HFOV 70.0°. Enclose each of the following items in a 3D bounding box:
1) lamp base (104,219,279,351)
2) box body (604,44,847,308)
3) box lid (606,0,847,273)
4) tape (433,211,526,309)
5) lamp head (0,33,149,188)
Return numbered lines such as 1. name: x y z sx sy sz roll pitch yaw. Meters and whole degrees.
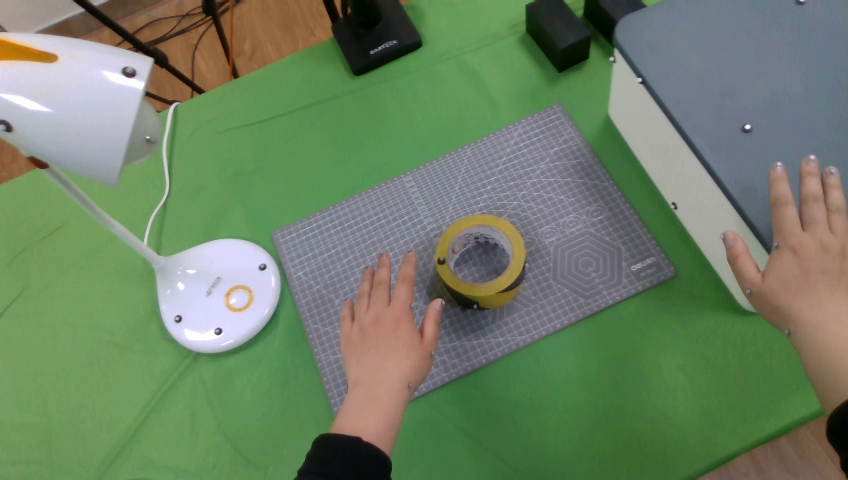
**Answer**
1. lamp base: -0.295 0.036 0.741 0.178 0.182 0.159 10 67 17
2. box body: 0.405 -0.129 0.715 0.254 0.162 0.360 -24 64 -2
3. box lid: 0.393 -0.163 0.650 0.263 0.015 0.368 -24 64 -2
4. tape: 0.068 0.024 0.757 0.117 0.053 0.116 -3 64 7
5. lamp head: -0.291 -0.107 0.478 0.123 0.112 0.111 13 63 -22
